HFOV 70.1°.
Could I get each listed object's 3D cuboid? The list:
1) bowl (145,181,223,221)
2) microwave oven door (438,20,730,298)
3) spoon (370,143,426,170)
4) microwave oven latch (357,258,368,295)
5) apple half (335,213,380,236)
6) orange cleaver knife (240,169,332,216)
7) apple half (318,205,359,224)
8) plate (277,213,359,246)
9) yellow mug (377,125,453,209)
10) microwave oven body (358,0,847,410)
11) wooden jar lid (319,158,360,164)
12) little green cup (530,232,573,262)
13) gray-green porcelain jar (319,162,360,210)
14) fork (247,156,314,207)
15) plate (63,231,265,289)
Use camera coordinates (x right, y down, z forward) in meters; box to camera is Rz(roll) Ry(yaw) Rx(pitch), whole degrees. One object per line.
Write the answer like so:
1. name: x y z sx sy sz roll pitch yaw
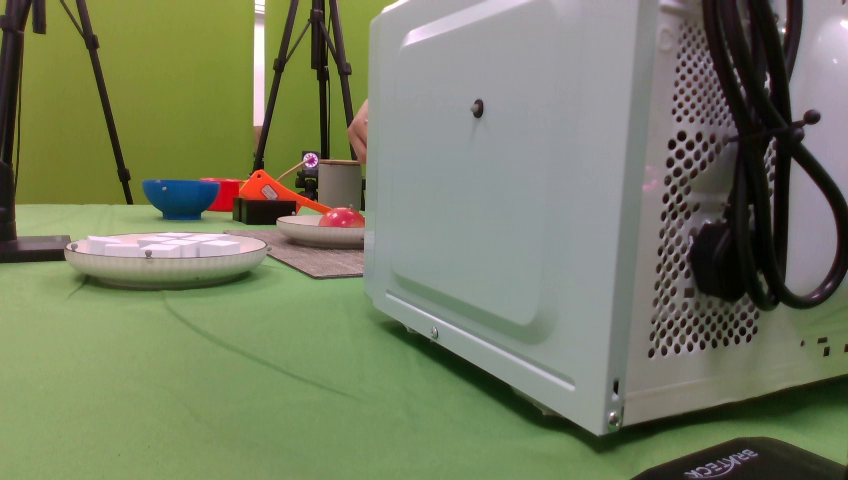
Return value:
1. bowl: -0.499 -0.081 1.261 0.151 0.077 0.151 2 8 0
2. microwave oven door: 0.181 -0.076 0.618 0.358 0.243 0.039 -2 8 -28
3. spoon: -0.050 -0.145 1.016 0.042 0.021 0.193 -10 25 -24
4. microwave oven latch: -0.019 0.031 0.529 0.079 0.029 0.030 -1 7 -26
5. apple half: -0.112 -0.029 1.034 0.081 0.033 0.081 0 10 0
6. orange cleaver knife: -0.286 -0.082 1.298 0.212 0.077 0.012 25 -2 -31
7. apple half: -0.126 -0.028 0.954 0.081 0.053 0.074 -2 10 -33
8. plate: -0.135 -0.018 0.993 0.209 0.038 0.209 2 7 0
9. yellow mug: -0.007 -0.118 0.931 0.100 0.130 0.063 -4 46 -48
10. microwave oven body: 0.210 -0.051 0.471 0.444 0.260 0.324 -1 7 -28
11. wooden jar lid: -0.203 -0.189 1.482 0.108 0.020 0.108 2 10 0
12. little green cup: 0.184 0.010 0.880 0.061 0.038 0.061 2 5 0
13. gray-green porcelain jar: -0.204 -0.126 1.489 0.106 0.126 0.106 2 7 0
14. fork: -0.360 -0.147 1.522 0.207 0.018 0.028 -43 15 -6
15. plate: -0.288 0.021 0.687 0.208 0.039 0.207 2 8 0
